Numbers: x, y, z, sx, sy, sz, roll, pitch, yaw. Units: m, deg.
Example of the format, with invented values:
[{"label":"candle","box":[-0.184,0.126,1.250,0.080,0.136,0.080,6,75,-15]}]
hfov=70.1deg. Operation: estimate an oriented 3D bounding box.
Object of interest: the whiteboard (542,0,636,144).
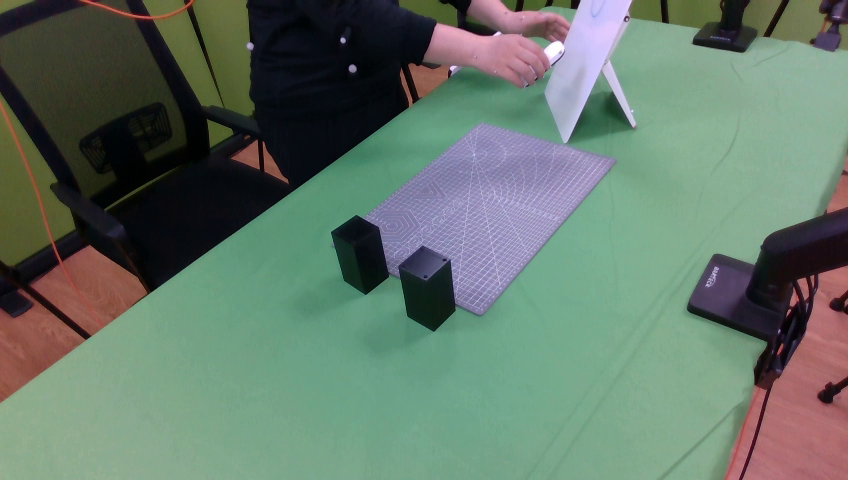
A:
[{"label":"whiteboard","box":[0.366,-0.351,1.160,0.144,0.305,0.216,10,39,-10]}]

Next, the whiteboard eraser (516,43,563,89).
[{"label":"whiteboard eraser","box":[0.211,-0.318,1.102,0.101,0.019,0.041,-40,37,20]}]
